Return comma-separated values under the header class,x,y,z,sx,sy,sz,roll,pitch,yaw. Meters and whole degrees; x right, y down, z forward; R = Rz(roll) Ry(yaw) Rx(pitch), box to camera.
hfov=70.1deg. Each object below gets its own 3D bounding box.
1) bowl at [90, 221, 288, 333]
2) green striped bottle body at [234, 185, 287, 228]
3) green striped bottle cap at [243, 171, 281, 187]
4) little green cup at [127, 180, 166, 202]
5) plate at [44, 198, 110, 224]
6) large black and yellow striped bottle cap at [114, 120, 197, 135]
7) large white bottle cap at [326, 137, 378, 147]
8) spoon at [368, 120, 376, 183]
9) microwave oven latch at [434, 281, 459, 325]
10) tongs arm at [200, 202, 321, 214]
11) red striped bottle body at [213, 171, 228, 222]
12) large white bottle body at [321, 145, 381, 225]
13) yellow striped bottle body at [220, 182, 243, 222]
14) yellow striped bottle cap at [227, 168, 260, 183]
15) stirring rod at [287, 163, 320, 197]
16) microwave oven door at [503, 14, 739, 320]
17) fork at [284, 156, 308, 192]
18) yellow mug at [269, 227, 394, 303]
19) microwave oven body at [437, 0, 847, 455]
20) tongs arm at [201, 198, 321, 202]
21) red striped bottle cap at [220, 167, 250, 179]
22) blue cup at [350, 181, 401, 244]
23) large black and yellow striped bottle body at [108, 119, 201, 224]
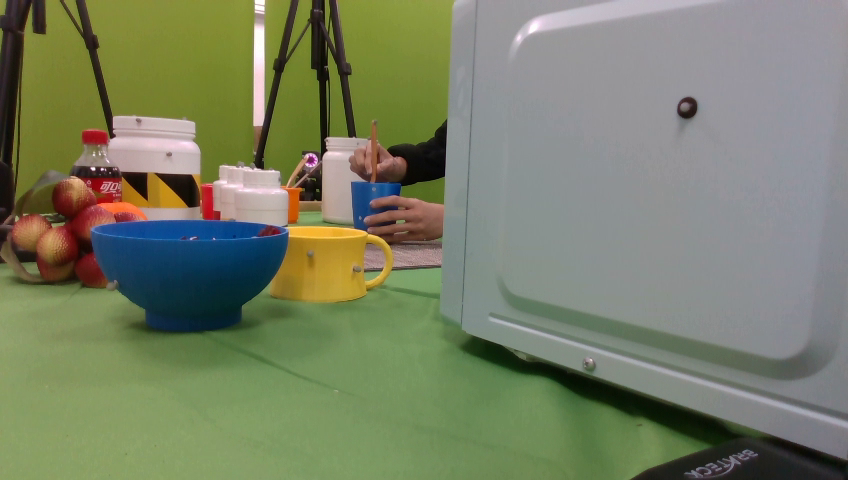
class,x,y,z,sx,sy,sz,roll,pitch,yaw
bowl,-0.190,0.029,0.500,0.151,0.077,0.151,3,7,0
green striped bottle body,-0.201,-0.023,0.743,0.063,0.119,0.063,2,7,0
green striped bottle cap,-0.197,-0.074,0.736,0.044,0.020,0.044,1,8,0
little green cup,-0.485,-0.086,1.061,0.061,0.038,0.061,1,7,0
plate,-0.617,-0.056,1.179,0.209,0.038,0.209,3,7,0
large black and yellow striped bottle cap,-0.407,-0.171,0.920,0.115,0.019,0.115,2,9,0
large white bottle cap,-0.158,-0.214,1.329,0.115,0.018,0.115,2,8,0
spoon,-0.092,-0.104,1.009,0.022,0.193,0.041,8,-4,-12
microwave oven latch,0.044,0.045,0.470,0.079,0.029,0.030,-2,8,-39
tongs arm,-0.378,-0.079,1.440,0.387,0.026,0.050,-4,8,-44
red striped bottle body,-0.284,-0.048,0.909,0.063,0.119,0.063,3,12,0
large white bottle body,-0.162,-0.131,1.340,0.131,0.184,0.130,2,8,0
yellow striped bottle body,-0.245,-0.036,0.825,0.063,0.120,0.063,3,8,0
yellow striped bottle cap,-0.243,-0.087,0.818,0.044,0.018,0.044,3,6,0
stirring rod,-0.283,-0.107,1.298,0.014,0.006,0.176,10,52,51
microwave oven door,0.218,-0.065,0.600,0.358,0.243,0.039,-4,10,-41
fork,-0.295,-0.116,1.323,0.028,0.019,0.207,1,50,21
yellow mug,-0.094,0.023,0.629,0.131,0.064,0.099,0,7,-22
microwave oven body,0.279,-0.040,0.465,0.444,0.260,0.324,-3,9,-41
tongs arm,-0.433,-0.090,1.508,0.390,0.028,0.028,0,3,-29
red striped bottle cap,-0.281,-0.099,0.901,0.044,0.017,0.044,-1,5,0
blue cup,-0.082,-0.046,1.012,0.093,0.100,0.092,2,7,0
large black and yellow striped bottle body,-0.412,-0.088,0.930,0.131,0.184,0.130,3,7,0
